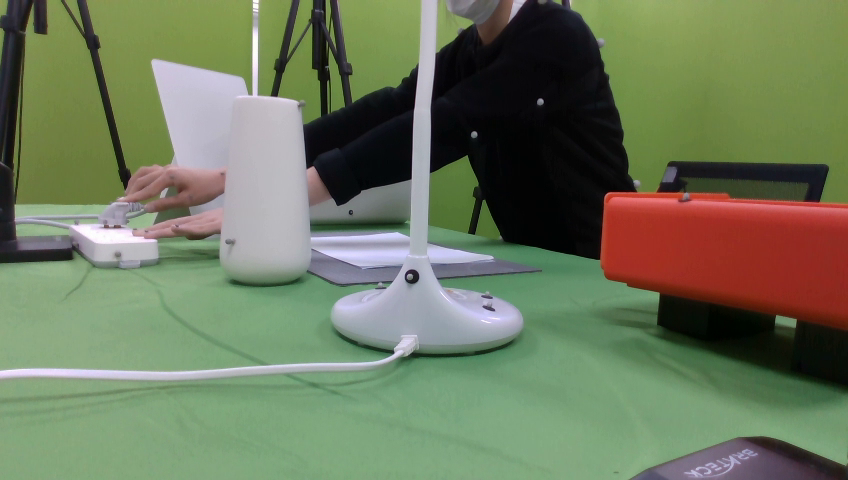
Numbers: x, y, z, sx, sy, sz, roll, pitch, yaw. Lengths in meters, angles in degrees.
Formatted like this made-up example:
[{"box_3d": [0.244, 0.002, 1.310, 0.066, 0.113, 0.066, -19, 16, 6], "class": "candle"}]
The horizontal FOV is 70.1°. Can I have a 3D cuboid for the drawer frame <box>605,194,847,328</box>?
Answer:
[{"box_3d": [0.298, 0.007, 0.497, 0.203, 0.082, 0.212, -1, 7, -34], "class": "drawer frame"}]

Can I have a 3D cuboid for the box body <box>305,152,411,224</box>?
[{"box_3d": [-0.230, -0.126, 1.372, 0.366, 0.160, 0.253, -2, 9, -33], "class": "box body"}]

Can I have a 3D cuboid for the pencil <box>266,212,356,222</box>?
[{"box_3d": [-0.244, -0.049, 1.319, 0.195, 0.012, 0.012, 4, 7, -12], "class": "pencil"}]

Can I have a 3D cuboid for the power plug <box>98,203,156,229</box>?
[{"box_3d": [-0.415, -0.026, 0.848, 0.073, 0.052, 0.035, 1, 7, -27], "class": "power plug"}]

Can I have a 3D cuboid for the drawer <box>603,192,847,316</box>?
[{"box_3d": [0.293, 0.002, 0.500, 0.195, 0.073, 0.210, -1, 8, -34], "class": "drawer"}]

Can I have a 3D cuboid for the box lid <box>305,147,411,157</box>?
[{"box_3d": [-0.229, -0.200, 1.361, 0.373, 0.015, 0.262, -2, 9, -33], "class": "box lid"}]

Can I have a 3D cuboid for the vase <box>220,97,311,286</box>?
[{"box_3d": [-0.172, -0.052, 0.662, 0.098, 0.200, 0.098, 3, 9, 0], "class": "vase"}]

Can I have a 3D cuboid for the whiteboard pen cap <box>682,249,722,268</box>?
[{"box_3d": [0.250, 0.017, 0.544, 0.033, 0.018, 0.018, 2, 7, 25], "class": "whiteboard pen cap"}]

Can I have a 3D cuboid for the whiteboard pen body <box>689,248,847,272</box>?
[{"box_3d": [0.304, 0.016, 0.521, 0.140, 0.017, 0.017, 2, 7, 26], "class": "whiteboard pen body"}]

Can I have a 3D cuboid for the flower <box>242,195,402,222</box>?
[{"box_3d": [-0.231, -0.064, 1.372, 0.362, 0.038, 0.044, 6, 40, -2], "class": "flower"}]

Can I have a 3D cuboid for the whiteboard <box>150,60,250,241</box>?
[{"box_3d": [-0.408, -0.139, 1.093, 0.143, 0.305, 0.218, -15, -1, 26], "class": "whiteboard"}]

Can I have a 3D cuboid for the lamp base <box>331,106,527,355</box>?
[{"box_3d": [0.006, -0.012, 0.478, 0.161, 0.180, 0.179, 2, 10, 2], "class": "lamp base"}]

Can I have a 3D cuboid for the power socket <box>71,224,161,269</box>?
[{"box_3d": [-0.408, 0.004, 0.793, 0.072, 0.032, 0.225, -2, 8, -38], "class": "power socket"}]

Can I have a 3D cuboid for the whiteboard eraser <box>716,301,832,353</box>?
[{"box_3d": [0.256, 0.042, 0.472, 0.112, 0.042, 0.056, 43, 19, 30], "class": "whiteboard eraser"}]
